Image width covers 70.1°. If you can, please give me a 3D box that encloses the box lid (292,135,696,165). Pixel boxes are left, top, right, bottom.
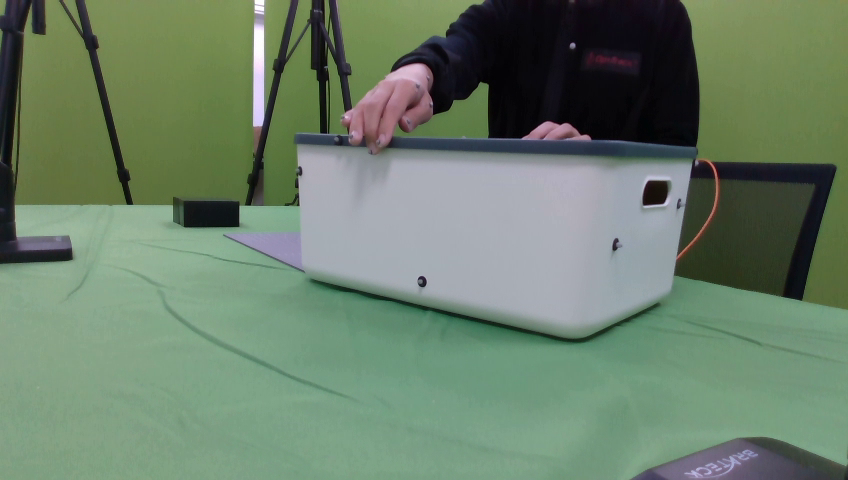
[{"bbox_3d":[0.068,-0.094,0.645,0.369,0.015,0.265,9,9,37],"label":"box lid"}]

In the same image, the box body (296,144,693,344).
[{"bbox_3d":[0.065,-0.020,0.653,0.362,0.160,0.255,9,9,36],"label":"box body"}]
